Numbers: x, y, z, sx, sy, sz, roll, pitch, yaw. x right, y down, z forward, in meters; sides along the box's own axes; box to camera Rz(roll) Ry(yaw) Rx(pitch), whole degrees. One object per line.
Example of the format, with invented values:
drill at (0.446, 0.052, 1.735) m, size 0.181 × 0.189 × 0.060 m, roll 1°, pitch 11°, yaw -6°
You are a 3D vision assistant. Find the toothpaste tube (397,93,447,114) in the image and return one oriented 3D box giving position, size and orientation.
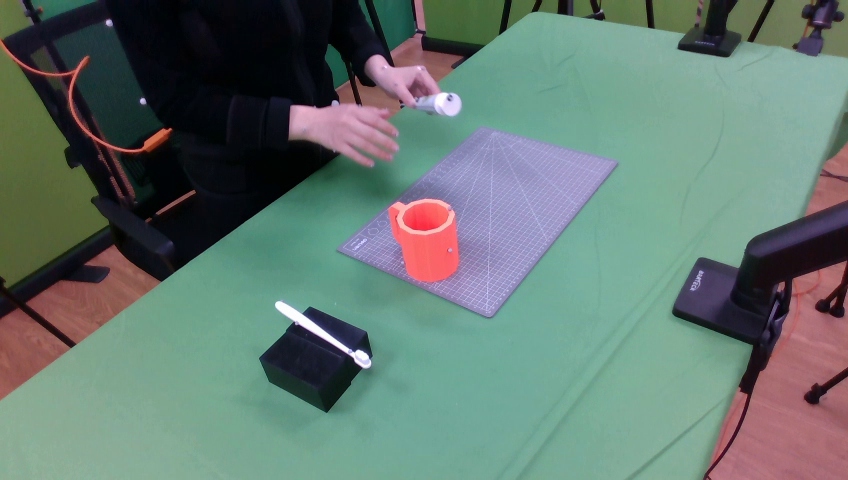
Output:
toothpaste tube at (0.009, -0.231, 1.019) m, size 0.055 × 0.034 × 0.164 m, roll -7°, pitch 15°, yaw -24°

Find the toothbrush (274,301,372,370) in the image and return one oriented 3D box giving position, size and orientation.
toothbrush at (-0.135, 0.119, 0.783) m, size 0.180 × 0.017 × 0.014 m, roll 25°, pitch 53°, yaw 32°

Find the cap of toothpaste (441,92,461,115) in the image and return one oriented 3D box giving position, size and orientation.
cap of toothpaste at (0.041, -0.214, 0.947) m, size 0.037 × 0.037 × 0.011 m, roll -30°, pitch 30°, yaw -24°

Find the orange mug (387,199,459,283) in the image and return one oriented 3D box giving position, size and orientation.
orange mug at (-0.006, -0.007, 0.923) m, size 0.125 × 0.101 × 0.084 m, roll 32°, pitch 54°, yaw 32°
